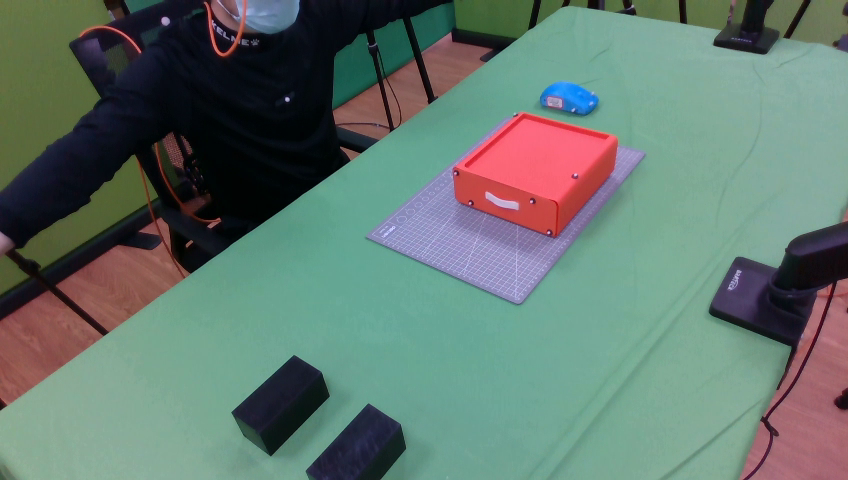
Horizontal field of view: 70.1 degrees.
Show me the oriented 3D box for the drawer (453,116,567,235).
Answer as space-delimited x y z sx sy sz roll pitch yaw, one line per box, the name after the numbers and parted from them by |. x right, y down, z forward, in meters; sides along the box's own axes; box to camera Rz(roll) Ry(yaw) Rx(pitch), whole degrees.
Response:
0.188 -0.119 1.030 0.193 0.073 0.212 23 48 31 | drawer

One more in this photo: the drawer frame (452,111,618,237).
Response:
0.190 -0.120 1.031 0.200 0.083 0.214 22 48 31 | drawer frame

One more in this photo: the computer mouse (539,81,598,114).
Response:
0.302 -0.300 1.262 0.116 0.041 0.063 26 49 27 | computer mouse
